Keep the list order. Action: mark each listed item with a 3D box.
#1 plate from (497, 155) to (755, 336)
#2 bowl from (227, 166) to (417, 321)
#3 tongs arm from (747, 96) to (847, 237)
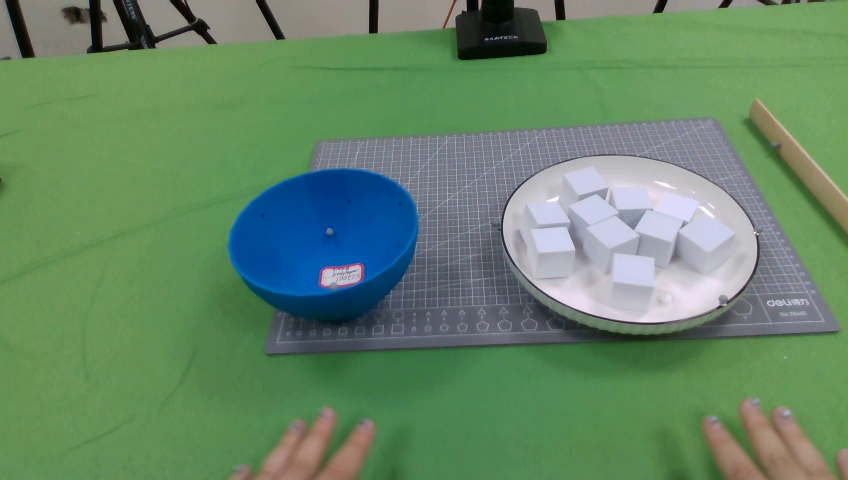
[{"bbox_3d":[0.166,0.003,0.519,0.207,0.039,0.205,-3,44,3],"label":"plate"},{"bbox_3d":[-0.077,0.014,0.503,0.151,0.077,0.150,-3,44,3],"label":"bowl"},{"bbox_3d":[0.382,-0.018,0.529,0.028,0.028,0.383,-6,44,-4],"label":"tongs arm"}]
